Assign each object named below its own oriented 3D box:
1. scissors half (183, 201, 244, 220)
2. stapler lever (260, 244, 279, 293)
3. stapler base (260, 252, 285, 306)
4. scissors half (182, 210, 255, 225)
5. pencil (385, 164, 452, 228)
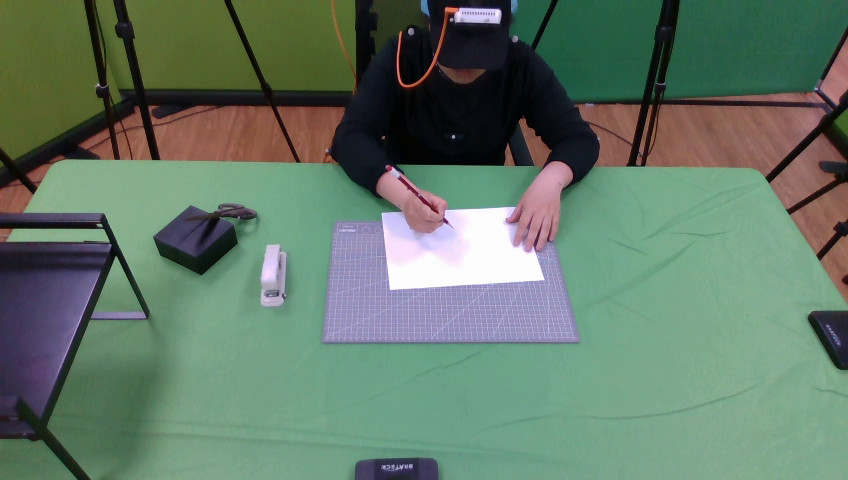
[{"bbox_3d":[-0.405,-0.054,1.163,0.040,0.013,0.175,29,18,7],"label":"scissors half"},{"bbox_3d":[-0.279,0.045,1.096,0.027,0.040,0.117,-2,44,-9],"label":"stapler lever"},{"bbox_3d":[-0.279,0.064,1.113,0.041,0.024,0.129,-2,44,-9],"label":"stapler base"},{"bbox_3d":[-0.389,-0.042,1.158,0.040,0.013,0.175,40,21,22],"label":"scissors half"},{"bbox_3d":[-0.006,-0.079,1.136,0.012,0.195,0.012,-31,35,25],"label":"pencil"}]
